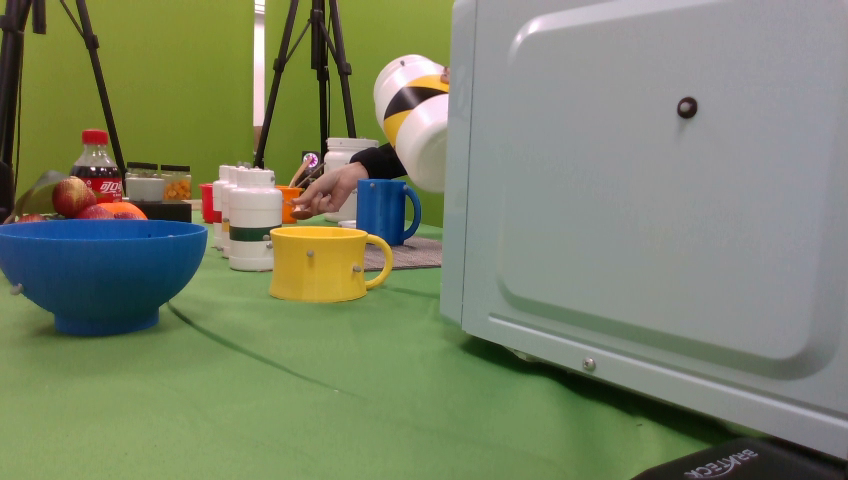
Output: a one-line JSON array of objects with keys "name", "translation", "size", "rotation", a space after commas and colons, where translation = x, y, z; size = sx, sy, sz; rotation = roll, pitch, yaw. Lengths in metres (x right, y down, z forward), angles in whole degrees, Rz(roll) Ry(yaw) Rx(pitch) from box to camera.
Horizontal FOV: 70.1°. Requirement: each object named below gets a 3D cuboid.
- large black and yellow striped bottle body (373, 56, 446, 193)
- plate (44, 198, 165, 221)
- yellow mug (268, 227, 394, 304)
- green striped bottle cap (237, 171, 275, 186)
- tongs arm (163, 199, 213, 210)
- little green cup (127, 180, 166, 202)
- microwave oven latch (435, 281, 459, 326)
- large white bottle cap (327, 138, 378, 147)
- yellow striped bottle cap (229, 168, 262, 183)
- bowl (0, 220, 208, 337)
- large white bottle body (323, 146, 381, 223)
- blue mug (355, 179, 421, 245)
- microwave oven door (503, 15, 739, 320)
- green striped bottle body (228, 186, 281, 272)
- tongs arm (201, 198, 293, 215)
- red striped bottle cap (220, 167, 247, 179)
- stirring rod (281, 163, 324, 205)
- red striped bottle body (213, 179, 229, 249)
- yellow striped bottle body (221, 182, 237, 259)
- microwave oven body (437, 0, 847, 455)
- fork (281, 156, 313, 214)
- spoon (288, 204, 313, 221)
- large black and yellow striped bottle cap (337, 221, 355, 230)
[{"name": "large black and yellow striped bottle body", "translation": [0.008, -0.170, 0.866], "size": [0.131, 0.130, 0.183], "rotation": [-2, 44, -29]}, {"name": "plate", "translation": [-0.617, -0.056, 1.179], "size": [0.209, 0.038, 0.209], "rotation": [3, 7, 0]}, {"name": "yellow mug", "translation": [-0.094, 0.023, 0.629], "size": [0.131, 0.064, 0.099], "rotation": [0, 7, -22]}, {"name": "green striped bottle cap", "translation": [-0.206, -0.074, 0.738], "size": [0.044, 0.020, 0.044], "rotation": [1, 8, 0]}, {"name": "tongs arm", "translation": [-0.504, -0.091, 1.513], "size": [0.028, 0.028, 0.389], "rotation": [0, 4, 37]}, {"name": "little green cup", "translation": [-0.486, -0.086, 1.061], "size": [0.061, 0.038, 0.061], "rotation": [1, 7, 0]}, {"name": "microwave oven latch", "translation": [0.044, 0.046, 0.470], "size": [0.079, 0.029, 0.030], "rotation": [-3, 8, -40]}, {"name": "large white bottle cap", "translation": [-0.160, -0.218, 1.357], "size": [0.115, 0.018, 0.115], "rotation": [2, 8, 0]}, {"name": "yellow striped bottle cap", "translation": [-0.240, -0.087, 0.816], "size": [0.044, 0.018, 0.044], "rotation": [-3, 5, 1]}, {"name": "bowl", "translation": [-0.251, 0.029, 0.479], "size": [0.151, 0.077, 0.151], "rotation": [2, 7, 0]}, {"name": "large white bottle body", "translation": [-0.163, -0.134, 1.369], "size": [0.131, 0.184, 0.130], "rotation": [2, 8, 0]}, {"name": "blue mug", "translation": [-0.059, -0.047, 1.005], "size": [0.116, 0.106, 0.082], "rotation": [6, 9, 23]}, {"name": "microwave oven door", "translation": [0.217, -0.065, 0.600], "size": [0.358, 0.243, 0.039], "rotation": [-4, 10, -41]}, {"name": "green striped bottle body", "translation": [-0.208, -0.023, 0.745], "size": [0.063, 0.119, 0.063], "rotation": [2, 7, 0]}, {"name": "tongs arm", "translation": [-0.423, -0.084, 1.472], "size": [0.050, 0.026, 0.386], "rotation": [2, 6, 21]}, {"name": "red striped bottle cap", "translation": [-0.281, -0.100, 0.901], "size": [0.044, 0.017, 0.044], "rotation": [-1, 5, 0]}, {"name": "stirring rod", "translation": [-0.278, -0.105, 1.293], "size": [0.176, 0.006, 0.014], "rotation": [-47, 24, -18]}, {"name": "red striped bottle body", "translation": [-0.284, -0.047, 0.908], "size": [0.063, 0.119, 0.063], "rotation": [2, 8, 0]}, {"name": "yellow striped bottle body", "translation": [-0.244, -0.035, 0.823], "size": [0.063, 0.120, 0.063], "rotation": [2, 8, 0]}, {"name": "microwave oven body", "translation": [0.279, -0.040, 0.464], "size": [0.444, 0.260, 0.324], "rotation": [-3, 8, -41]}, {"name": "fork", "translation": [-0.289, -0.116, 1.320], "size": [0.028, 0.019, 0.207], "rotation": [-2, 48, 27]}, {"name": "spoon", "translation": [-0.228, -0.054, 1.083], "size": [0.042, 0.021, 0.193], "rotation": [-1, 12, -16]}, {"name": "large black and yellow striped bottle cap", "translation": [-0.107, -0.022, 1.148], "size": [0.115, 0.019, 0.115], "rotation": [0, 8, 0]}]
